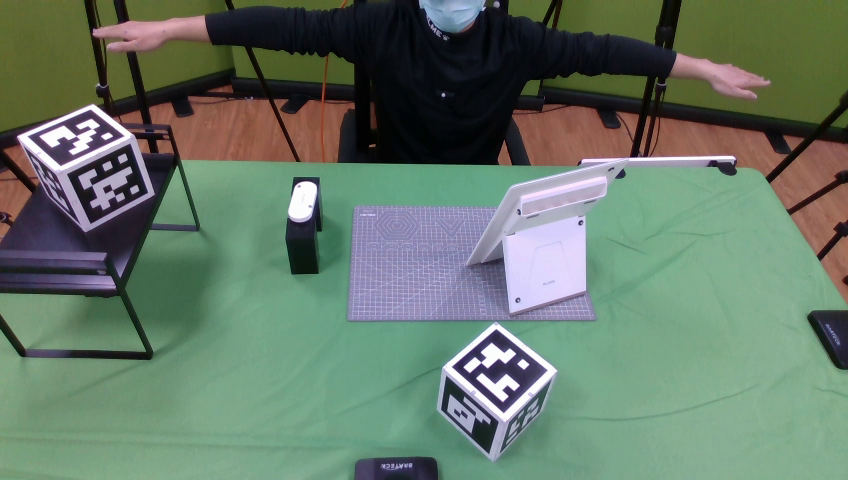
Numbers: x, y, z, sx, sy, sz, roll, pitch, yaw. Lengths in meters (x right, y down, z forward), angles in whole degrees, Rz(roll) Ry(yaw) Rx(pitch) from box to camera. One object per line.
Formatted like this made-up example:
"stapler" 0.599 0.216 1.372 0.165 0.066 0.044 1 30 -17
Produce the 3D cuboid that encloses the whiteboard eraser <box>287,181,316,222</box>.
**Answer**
"whiteboard eraser" -0.224 -0.071 1.111 0.041 0.019 0.100 3 45 0

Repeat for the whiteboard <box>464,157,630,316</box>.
"whiteboard" 0.224 0.014 1.041 0.217 0.306 0.143 -14 68 -17
